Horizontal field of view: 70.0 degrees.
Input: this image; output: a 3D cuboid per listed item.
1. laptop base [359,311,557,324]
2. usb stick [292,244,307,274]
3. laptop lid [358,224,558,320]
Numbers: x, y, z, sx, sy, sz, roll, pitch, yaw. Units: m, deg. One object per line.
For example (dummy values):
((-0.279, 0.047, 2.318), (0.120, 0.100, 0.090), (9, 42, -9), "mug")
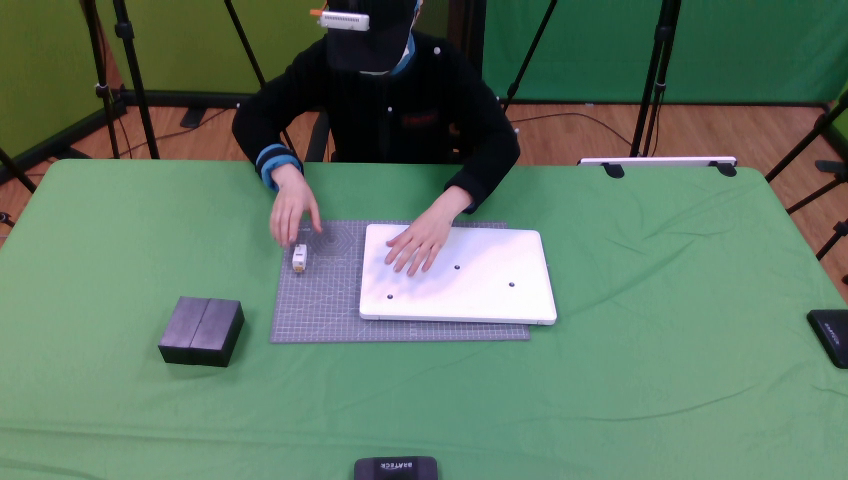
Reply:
((0.061, 0.063, 1.145), (0.354, 0.023, 0.234), (2, 43, -3), "laptop base")
((-0.235, 0.036, 1.137), (0.021, 0.027, 0.059), (2, 50, -4), "usb stick")
((0.061, 0.053, 1.138), (0.357, 0.013, 0.240), (3, 44, -2), "laptop lid")
